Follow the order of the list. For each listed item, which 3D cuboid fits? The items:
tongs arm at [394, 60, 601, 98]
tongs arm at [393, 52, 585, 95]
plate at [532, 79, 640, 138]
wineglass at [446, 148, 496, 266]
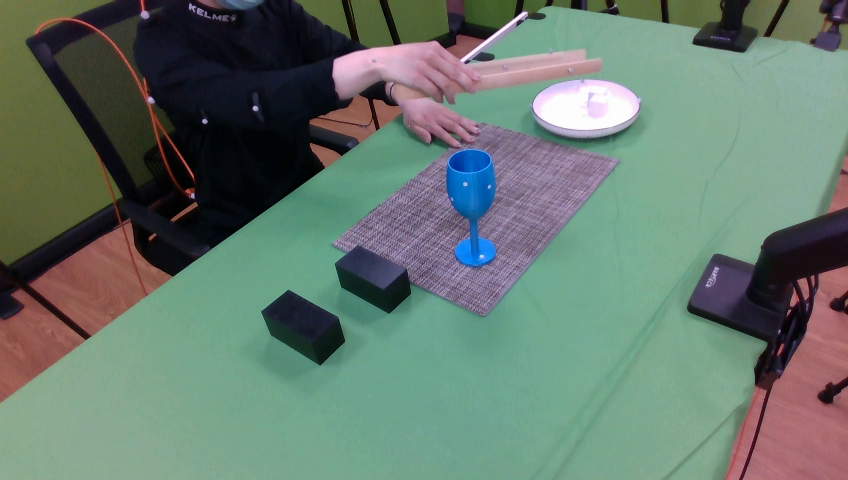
[{"bbox_3d":[0.138,-0.284,1.056,0.389,0.028,0.028,-11,40,-16],"label":"tongs arm"},{"bbox_3d":[0.127,-0.301,1.082,0.386,0.026,0.050,-10,36,-15],"label":"tongs arm"},{"bbox_3d":[0.322,-0.259,1.212,0.209,0.038,0.208,-4,40,4],"label":"plate"},{"bbox_3d":[0.072,-0.045,0.889,0.074,0.173,0.073,-4,41,4],"label":"wineglass"}]
